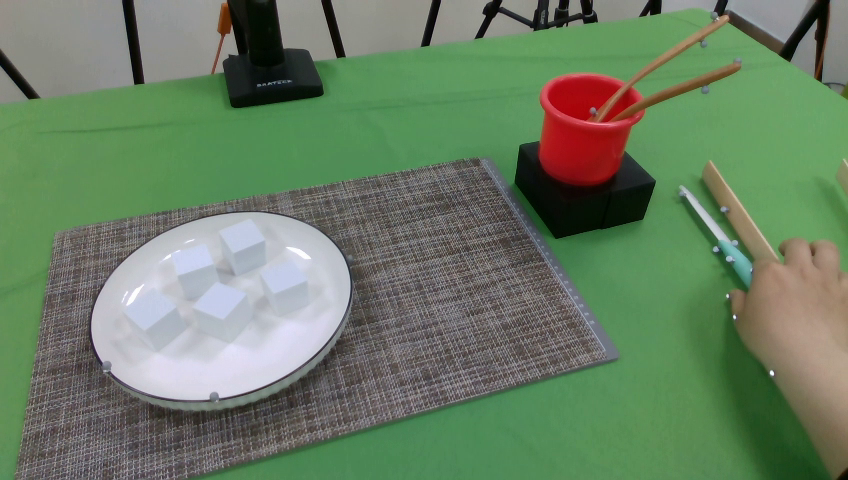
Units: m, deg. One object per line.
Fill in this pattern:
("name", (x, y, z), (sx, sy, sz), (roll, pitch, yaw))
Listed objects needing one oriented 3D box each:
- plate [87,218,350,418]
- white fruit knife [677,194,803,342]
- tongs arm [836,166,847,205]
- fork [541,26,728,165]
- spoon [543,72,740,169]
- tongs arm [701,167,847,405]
("plate", (-0.166, 0.062, 0.512), (0.208, 0.039, 0.205), (1, 43, -1))
("white fruit knife", (0.301, 0.017, 0.598), (0.027, 0.016, 0.205), (17, 35, -26))
("tongs arm", (0.420, 0.057, 0.540), (0.051, 0.027, 0.381), (5, 44, 5))
("fork", (0.200, -0.137, 0.585), (0.207, 0.019, 0.028), (-40, 21, 15))
("spoon", (0.187, -0.105, 0.549), (0.022, 0.193, 0.041), (54, 47, -8))
("tongs arm", (0.339, 0.057, 0.544), (0.028, 0.028, 0.383), (-2, 43, -7))
